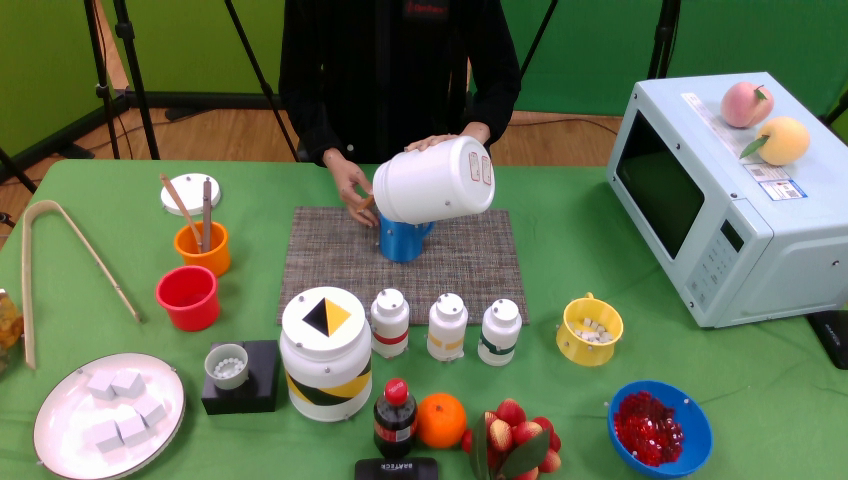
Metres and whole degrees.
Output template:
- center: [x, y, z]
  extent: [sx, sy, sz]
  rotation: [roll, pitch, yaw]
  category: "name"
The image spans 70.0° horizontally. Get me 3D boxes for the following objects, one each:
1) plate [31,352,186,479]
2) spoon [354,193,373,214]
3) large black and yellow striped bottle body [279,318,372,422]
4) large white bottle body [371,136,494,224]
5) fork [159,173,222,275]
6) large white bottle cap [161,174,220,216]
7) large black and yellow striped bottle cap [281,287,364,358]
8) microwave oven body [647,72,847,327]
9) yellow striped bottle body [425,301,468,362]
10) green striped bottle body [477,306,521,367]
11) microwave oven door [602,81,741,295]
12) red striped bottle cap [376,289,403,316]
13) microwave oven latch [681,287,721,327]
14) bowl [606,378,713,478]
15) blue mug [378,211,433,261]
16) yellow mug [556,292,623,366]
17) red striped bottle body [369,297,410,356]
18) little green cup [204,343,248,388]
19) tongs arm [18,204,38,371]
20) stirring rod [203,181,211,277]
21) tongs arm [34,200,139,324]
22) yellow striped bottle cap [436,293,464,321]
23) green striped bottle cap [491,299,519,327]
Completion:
- center: [-0.459, 0.262, 0.898]
  extent: [0.209, 0.038, 0.208]
  rotation: [2, 45, -2]
  category: "plate"
- center: [-0.091, -0.086, 1.151]
  extent: [0.041, 0.022, 0.193]
  rotation: [6, 20, 18]
  category: "spoon"
- center: [-0.145, 0.173, 0.908]
  extent: [0.131, 0.185, 0.130]
  rotation: [2, 46, -2]
  category: "large black and yellow striped bottle body"
- center: [0.013, -0.098, 1.044]
  extent: [0.184, 0.131, 0.130]
  rotation: [-8, 37, 34]
  category: "large white bottle body"
- center: [-0.427, -0.029, 1.103]
  extent: [0.028, 0.018, 0.207]
  rotation: [-31, 99, -31]
  category: "fork"
- center: [-0.483, -0.095, 1.253]
  extent: [0.115, 0.018, 0.114]
  rotation: [2, 46, -2]
  category: "large white bottle cap"
- center: [-0.141, 0.112, 0.847]
  extent: [0.115, 0.019, 0.114]
  rotation: [5, 45, -4]
  category: "large black and yellow striped bottle cap"
- center: [0.607, -0.089, 1.164]
  extent: [0.326, 0.261, 0.438]
  rotation: [-7, 46, -10]
  category: "microwave oven body"
- center: [0.037, 0.142, 0.996]
  extent: [0.063, 0.121, 0.062]
  rotation: [3, 46, -3]
  category: "yellow striped bottle body"
- center: [0.124, 0.151, 0.995]
  extent: [0.063, 0.120, 0.063]
  rotation: [2, 46, -1]
  category: "green striped bottle body"
- center: [0.456, -0.107, 1.162]
  extent: [0.039, 0.245, 0.353]
  rotation: [-7, 47, -11]
  category: "microwave oven door"
- center: [-0.054, 0.098, 0.958]
  extent: [0.044, 0.018, 0.044]
  rotation: [0, 48, 1]
  category: "red striped bottle cap"
- center: [0.494, 0.119, 1.087]
  extent: [0.030, 0.029, 0.078]
  rotation: [-6, 46, -9]
  category: "microwave oven latch"
- center: [0.340, 0.292, 0.906]
  extent: [0.151, 0.077, 0.150]
  rotation: [2, 46, -2]
  category: "bowl"
- center: [-0.032, -0.029, 1.159]
  extent: [0.116, 0.106, 0.082]
  rotation: [-21, 52, -22]
  category: "blue mug"
- center: [0.285, 0.145, 1.051]
  extent: [0.100, 0.064, 0.130]
  rotation: [7, 45, 3]
  category: "yellow mug"
- center: [-0.059, 0.135, 0.997]
  extent: [0.063, 0.120, 0.062]
  rotation: [6, 49, -7]
  category: "red striped bottle body"
- center: [-0.294, 0.191, 0.909]
  extent: [0.061, 0.039, 0.061]
  rotation: [1, 48, -1]
  category: "little green cup"
- center: [-0.698, 0.070, 1.069]
  extent: [0.028, 0.028, 0.385]
  rotation: [-21, 51, -13]
  category: "tongs arm"
- center: [-0.396, -0.021, 1.107]
  extent: [0.014, 0.006, 0.176]
  rotation: [-1, 89, -1]
  category: "stirring rod"
- center: [-0.622, 0.034, 1.105]
  extent: [0.051, 0.026, 0.382]
  rotation: [-32, 56, -25]
  category: "tongs arm"
- center: [0.041, 0.106, 0.959]
  extent: [0.044, 0.019, 0.044]
  rotation: [-1, 49, 1]
  category: "yellow striped bottle cap"
- center: [0.128, 0.115, 0.958]
  extent: [0.044, 0.020, 0.044]
  rotation: [1, 47, -1]
  category: "green striped bottle cap"
